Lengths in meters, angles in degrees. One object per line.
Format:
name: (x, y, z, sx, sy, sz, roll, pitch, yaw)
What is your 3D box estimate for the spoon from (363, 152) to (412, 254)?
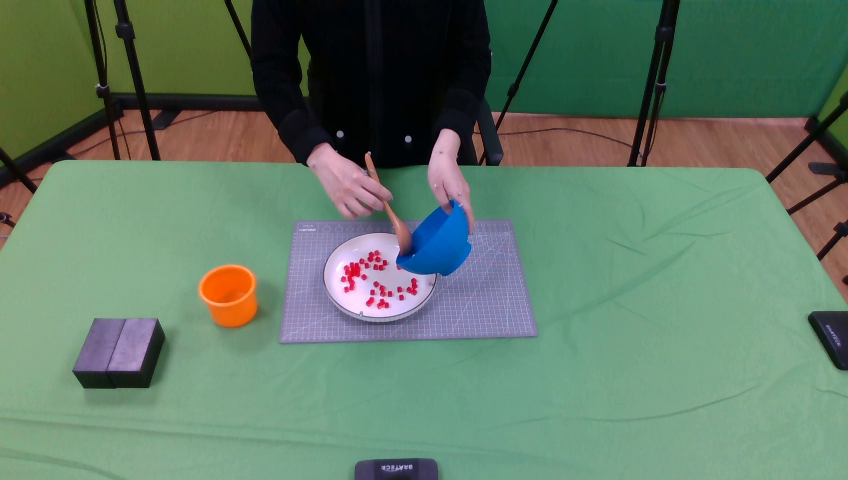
spoon: (-0.064, -0.061, 1.035, 0.021, 0.194, 0.041, -8, 27, 41)

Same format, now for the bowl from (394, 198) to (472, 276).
bowl: (0.028, 0.009, 1.035, 0.077, 0.151, 0.151, 42, 48, -13)

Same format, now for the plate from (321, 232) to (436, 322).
plate: (-0.083, 0.070, 1.109, 0.209, 0.038, 0.208, 3, 46, -2)
